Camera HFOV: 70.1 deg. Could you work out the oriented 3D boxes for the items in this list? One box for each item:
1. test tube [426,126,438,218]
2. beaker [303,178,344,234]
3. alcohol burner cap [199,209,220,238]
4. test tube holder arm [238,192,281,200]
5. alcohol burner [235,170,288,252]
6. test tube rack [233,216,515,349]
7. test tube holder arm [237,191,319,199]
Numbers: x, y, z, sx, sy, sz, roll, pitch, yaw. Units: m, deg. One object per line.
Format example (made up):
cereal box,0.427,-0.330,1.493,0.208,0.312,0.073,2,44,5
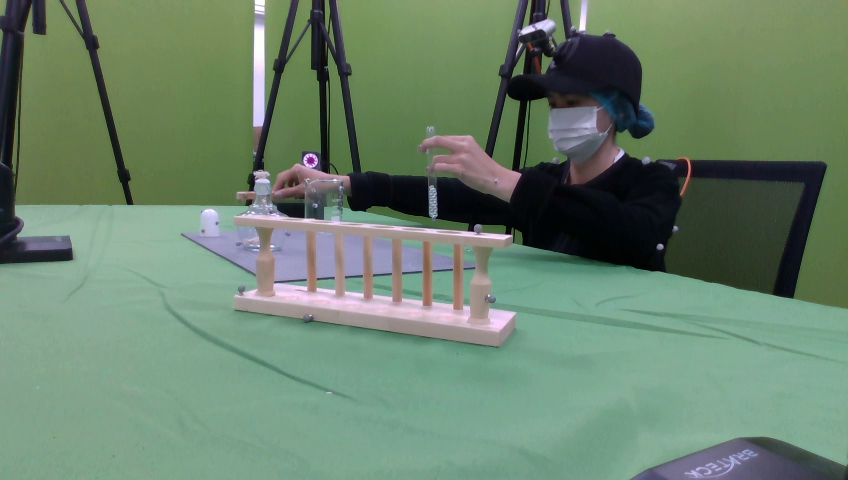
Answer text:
test tube,0.012,-0.110,0.986,0.017,0.150,0.017,-2,3,0
beaker,-0.189,-0.063,1.119,0.073,0.100,0.084,6,9,28
alcohol burner cap,-0.356,-0.027,1.002,0.034,0.048,0.034,2,7,0
test tube holder arm,-0.331,-0.089,1.219,0.088,0.015,0.010,-5,24,-38
alcohol burner,-0.236,-0.042,0.882,0.078,0.119,0.078,2,9,0
test tube rack,-0.045,0.029,0.526,0.241,0.085,0.067,5,8,19
test tube holder arm,-0.299,-0.094,1.251,0.179,0.015,0.013,-5,24,-38
